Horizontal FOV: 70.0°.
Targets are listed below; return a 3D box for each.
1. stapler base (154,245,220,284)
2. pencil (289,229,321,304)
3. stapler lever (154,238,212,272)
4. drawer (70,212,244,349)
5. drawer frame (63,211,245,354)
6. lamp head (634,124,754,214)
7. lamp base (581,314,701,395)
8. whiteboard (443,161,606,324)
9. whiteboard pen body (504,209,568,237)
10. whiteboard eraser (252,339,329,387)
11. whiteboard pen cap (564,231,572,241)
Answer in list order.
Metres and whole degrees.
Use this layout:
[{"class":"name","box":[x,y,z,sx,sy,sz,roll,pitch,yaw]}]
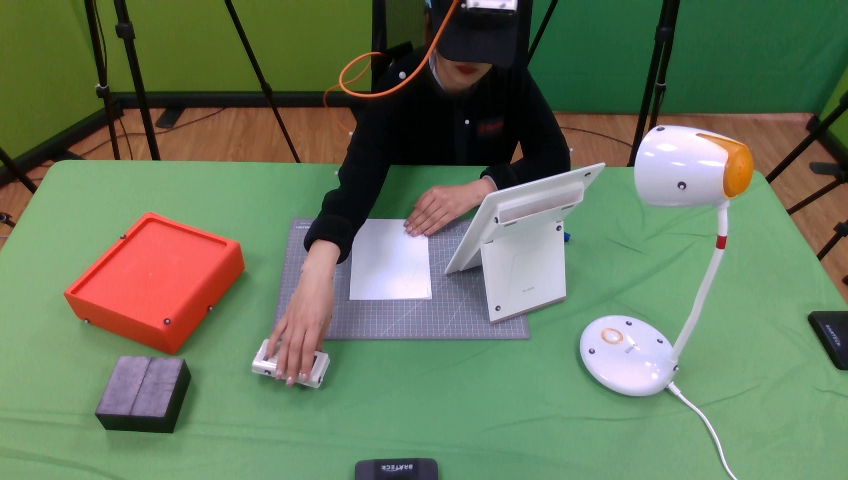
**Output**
[{"class":"stapler base","box":[-0.434,0.038,1.107,0.130,0.024,0.041,21,45,17]},{"class":"pencil","box":[-0.220,0.045,1.141,0.012,0.012,0.193,8,45,4]},{"class":"stapler lever","box":[-0.434,0.022,1.091,0.118,0.040,0.027,23,46,15]},{"class":"drawer","box":[-0.458,0.065,1.060,0.194,0.073,0.211,18,48,12]},{"class":"drawer frame","box":[-0.459,0.067,1.056,0.201,0.083,0.212,17,48,11]},{"class":"lamp head","box":[0.351,-0.089,0.776,0.112,0.113,0.122,-30,30,-28]},{"class":"lamp base","box":[0.361,0.145,0.973,0.178,0.181,0.160,34,53,23]},{"class":"whiteboard","box":[0.185,0.026,1.028,0.217,0.306,0.143,-15,68,-18]},{"class":"whiteboard pen body","box":[0.230,-0.034,1.248,0.140,0.017,0.017,22,49,16]},{"class":"whiteboard eraser","box":[-0.215,0.199,0.976,0.112,0.042,0.055,12,45,7]},{"class":"whiteboard pen cap","box":[0.282,-0.012,1.230,0.033,0.018,0.018,24,49,15]}]
